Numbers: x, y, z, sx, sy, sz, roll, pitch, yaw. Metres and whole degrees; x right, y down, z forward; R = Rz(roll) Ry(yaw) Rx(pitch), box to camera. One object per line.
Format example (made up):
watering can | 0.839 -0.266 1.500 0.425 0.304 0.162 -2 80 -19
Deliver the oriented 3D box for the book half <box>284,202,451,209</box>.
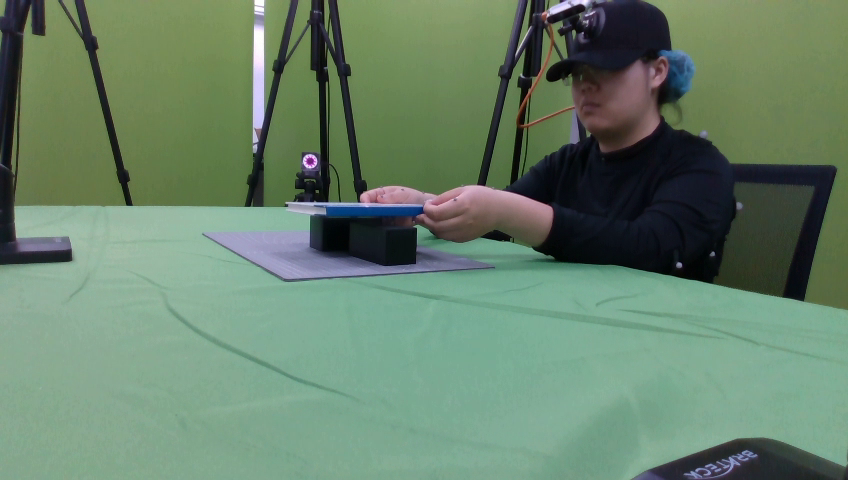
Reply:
book half | -0.084 -0.052 0.910 0.211 0.007 0.142 -2 6 -34

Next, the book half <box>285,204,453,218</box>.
book half | -0.082 -0.044 0.908 0.211 0.016 0.148 -1 6 -34
